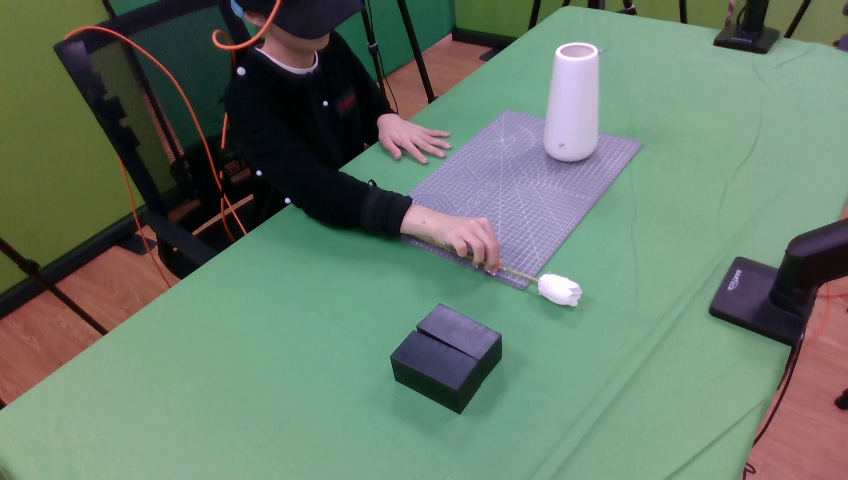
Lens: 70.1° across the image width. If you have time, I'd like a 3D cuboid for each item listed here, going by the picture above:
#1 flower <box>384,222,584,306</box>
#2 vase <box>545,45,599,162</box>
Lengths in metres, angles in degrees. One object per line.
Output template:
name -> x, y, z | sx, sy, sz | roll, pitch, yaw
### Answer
flower -> 0.075, 0.025, 0.931 | 0.359, 0.038, 0.044 | 21, 17, 32
vase -> 0.266, -0.238, 1.074 | 0.098, 0.201, 0.097 | -4, 42, 4
